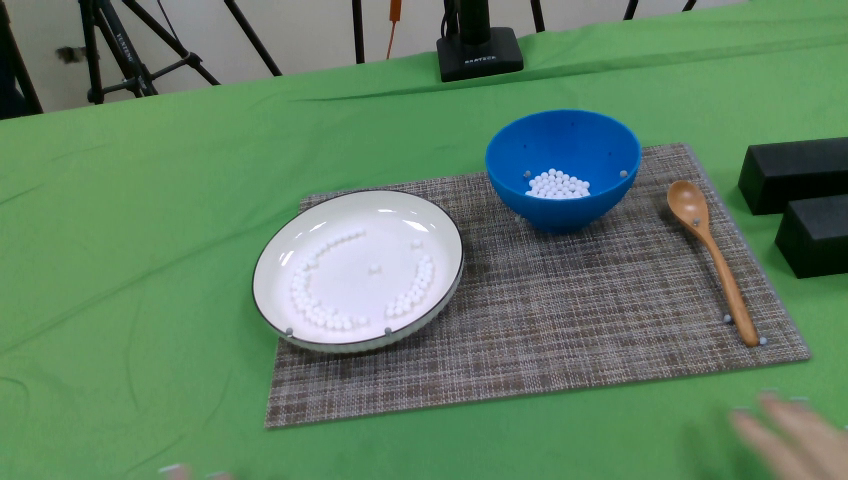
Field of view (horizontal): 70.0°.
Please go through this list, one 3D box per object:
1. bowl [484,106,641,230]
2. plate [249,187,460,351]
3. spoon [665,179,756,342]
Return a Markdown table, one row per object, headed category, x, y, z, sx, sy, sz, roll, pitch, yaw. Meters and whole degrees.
| category | x | y | z | sx | sy | sz | roll | pitch | yaw |
| --- | --- | --- | --- | --- | --- | --- | --- | --- | --- |
| bowl | 0.139 | -0.063 | 0.619 | 0.151 | 0.077 | 0.150 | -6 | 44 | 6 |
| plate | -0.066 | 0.028 | 0.599 | 0.207 | 0.039 | 0.205 | -6 | 44 | 6 |
| spoon | 0.264 | 0.011 | 0.558 | 0.042 | 0.022 | 0.191 | 6 | 44 | -7 |
